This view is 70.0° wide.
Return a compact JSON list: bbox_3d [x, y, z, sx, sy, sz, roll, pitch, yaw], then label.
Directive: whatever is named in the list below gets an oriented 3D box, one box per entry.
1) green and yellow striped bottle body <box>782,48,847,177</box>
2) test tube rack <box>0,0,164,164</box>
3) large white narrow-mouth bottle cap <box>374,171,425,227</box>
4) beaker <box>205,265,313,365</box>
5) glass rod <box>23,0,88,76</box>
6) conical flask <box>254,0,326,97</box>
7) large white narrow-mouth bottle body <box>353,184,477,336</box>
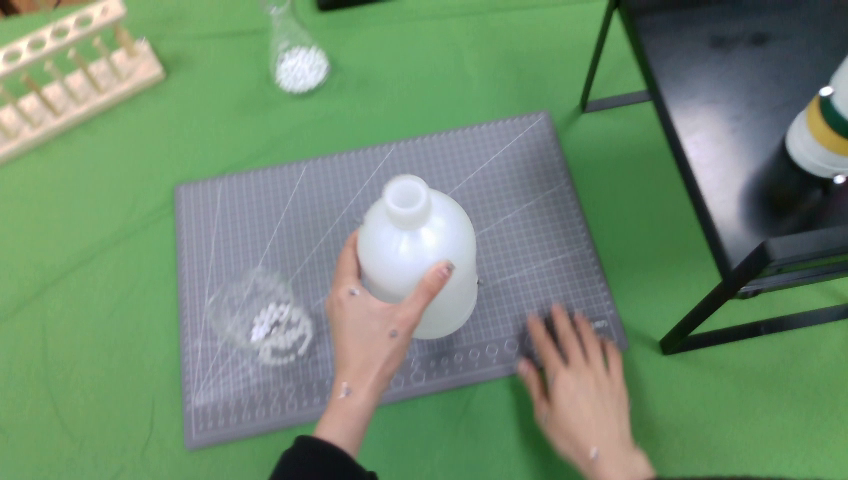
[{"bbox_3d":[0.317,-0.101,0.435,0.063,0.120,0.062,-1,66,3],"label":"green and yellow striped bottle body"},{"bbox_3d":[-0.456,-0.185,0.732,0.242,0.086,0.066,-31,68,-10],"label":"test tube rack"},{"bbox_3d":[-0.018,-0.029,0.449,0.037,0.024,0.037,-3,63,6],"label":"large white narrow-mouth bottle cap"},{"bbox_3d":[-0.155,0.078,0.590,0.084,0.101,0.073,-2,65,3],"label":"beaker"},{"bbox_3d":[-0.438,-0.254,0.688,0.008,0.201,0.008,-3,58,5],"label":"glass rod"},{"bbox_3d":[-0.164,-0.234,0.717,0.075,0.123,0.075,-1,66,3],"label":"conical flask"},{"bbox_3d":[-0.007,0.010,0.526,0.102,0.196,0.101,-3,63,6],"label":"large white narrow-mouth bottle body"}]
